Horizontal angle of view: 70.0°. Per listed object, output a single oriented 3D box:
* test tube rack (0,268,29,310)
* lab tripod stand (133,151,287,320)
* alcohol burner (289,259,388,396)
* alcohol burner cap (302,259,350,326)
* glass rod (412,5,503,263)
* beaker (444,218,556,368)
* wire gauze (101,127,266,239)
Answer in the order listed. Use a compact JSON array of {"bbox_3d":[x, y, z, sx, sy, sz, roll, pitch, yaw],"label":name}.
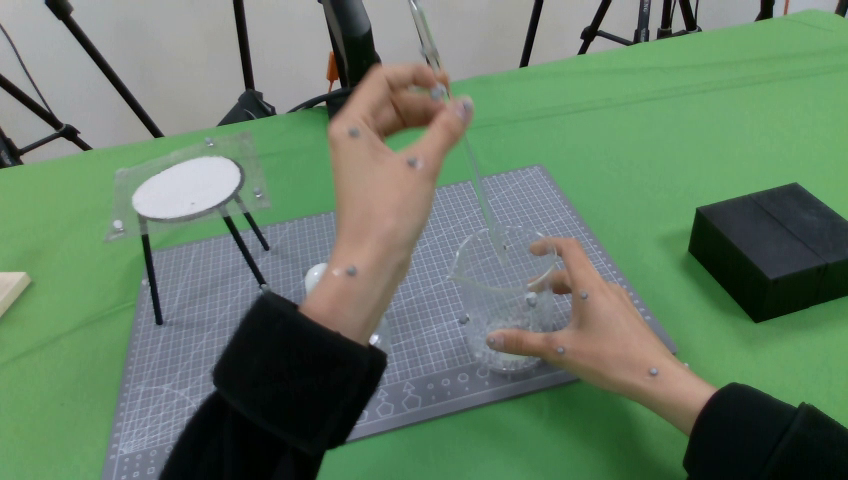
[{"bbox_3d":[-0.470,0.085,0.531,0.066,0.086,0.240,0,40,9],"label":"test tube rack"},{"bbox_3d":[-0.191,0.002,0.541,0.148,0.133,0.147,-5,42,5],"label":"lab tripod stand"},{"bbox_3d":[-0.068,0.063,0.463,0.078,0.120,0.077,-6,38,5],"label":"alcohol burner"},{"bbox_3d":[-0.073,0.036,0.439,0.034,0.048,0.033,-3,37,3],"label":"alcohol burner cap"},{"bbox_3d":[0.026,-0.053,0.382,0.008,0.202,0.008,-12,43,12],"label":"glass rod"},{"bbox_3d":[0.061,0.045,0.473,0.084,0.101,0.073,-16,40,-8],"label":"beaker"},{"bbox_3d":[-0.199,-0.049,0.497,0.125,0.011,0.120,-18,41,-10],"label":"wire gauze"}]
